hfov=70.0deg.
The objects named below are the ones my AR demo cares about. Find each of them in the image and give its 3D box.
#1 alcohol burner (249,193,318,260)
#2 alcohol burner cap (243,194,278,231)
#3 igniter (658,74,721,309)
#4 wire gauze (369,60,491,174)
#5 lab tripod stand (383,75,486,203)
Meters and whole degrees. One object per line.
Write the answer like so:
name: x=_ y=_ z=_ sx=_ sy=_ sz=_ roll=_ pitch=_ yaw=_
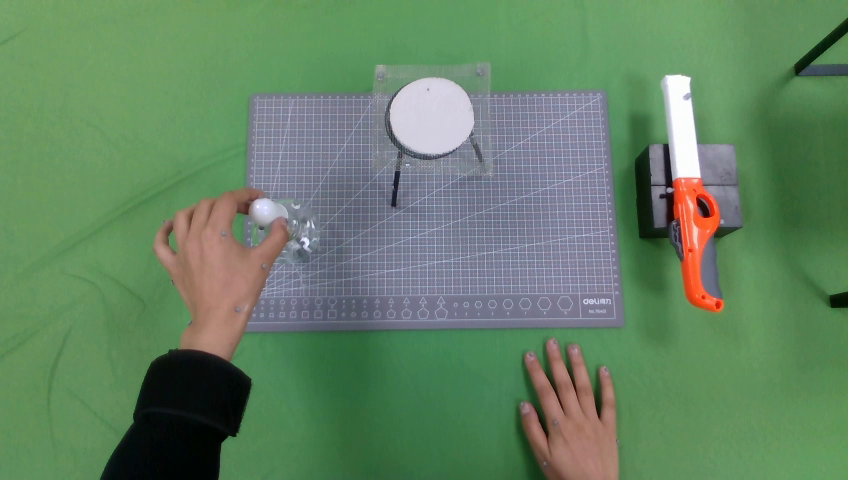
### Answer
alcohol burner: x=-0.160 y=-0.018 z=0.672 sx=0.078 sy=0.119 sz=0.077 roll=0 pitch=79 yaw=1
alcohol burner cap: x=-0.167 y=-0.030 z=0.611 sx=0.034 sy=0.048 sz=0.033 roll=1 pitch=78 yaw=-7
igniter: x=0.296 y=-0.059 z=0.682 sx=0.057 sy=0.025 sz=0.275 roll=0 pitch=76 yaw=-3
wire gauze: x=0.007 y=-0.128 z=0.617 sx=0.125 sy=0.011 sz=0.121 roll=2 pitch=78 yaw=1
lab tripod stand: x=0.001 y=-0.117 z=0.684 sx=0.148 sy=0.132 sz=0.147 roll=0 pitch=78 yaw=2
